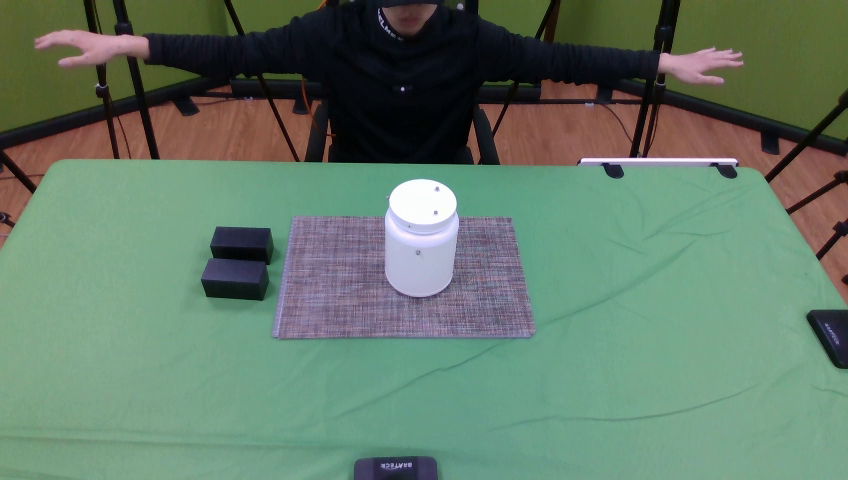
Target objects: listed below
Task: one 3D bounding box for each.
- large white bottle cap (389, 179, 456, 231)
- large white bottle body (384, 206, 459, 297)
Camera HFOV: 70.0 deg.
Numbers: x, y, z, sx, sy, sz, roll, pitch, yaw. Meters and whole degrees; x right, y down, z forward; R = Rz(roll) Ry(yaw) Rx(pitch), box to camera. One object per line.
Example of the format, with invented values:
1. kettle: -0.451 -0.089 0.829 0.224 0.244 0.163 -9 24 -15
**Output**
1. large white bottle cap: -0.003 -0.061 1.020 0.115 0.018 0.114 2 46 -1
2. large white bottle body: -0.006 -0.002 1.082 0.131 0.185 0.130 2 46 -2
